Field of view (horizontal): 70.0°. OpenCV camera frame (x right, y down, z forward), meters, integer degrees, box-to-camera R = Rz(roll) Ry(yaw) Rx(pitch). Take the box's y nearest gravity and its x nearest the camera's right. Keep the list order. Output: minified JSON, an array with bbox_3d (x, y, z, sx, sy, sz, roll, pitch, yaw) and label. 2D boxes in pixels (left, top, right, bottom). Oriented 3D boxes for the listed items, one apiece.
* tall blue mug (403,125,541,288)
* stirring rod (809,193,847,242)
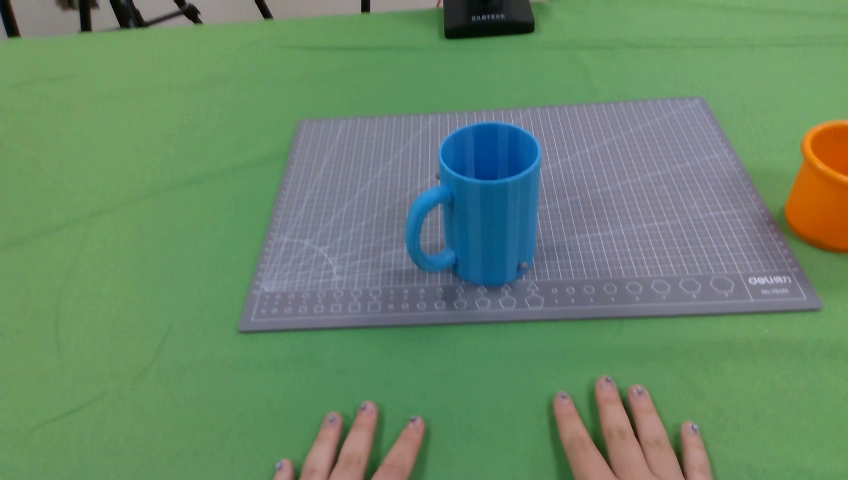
[{"bbox_3d":[0.042,-0.016,0.473,0.077,0.109,0.107,21,50,24],"label":"tall blue mug"},{"bbox_3d":[0.373,-0.067,0.475,0.176,0.006,0.014,-52,40,15],"label":"stirring rod"}]
